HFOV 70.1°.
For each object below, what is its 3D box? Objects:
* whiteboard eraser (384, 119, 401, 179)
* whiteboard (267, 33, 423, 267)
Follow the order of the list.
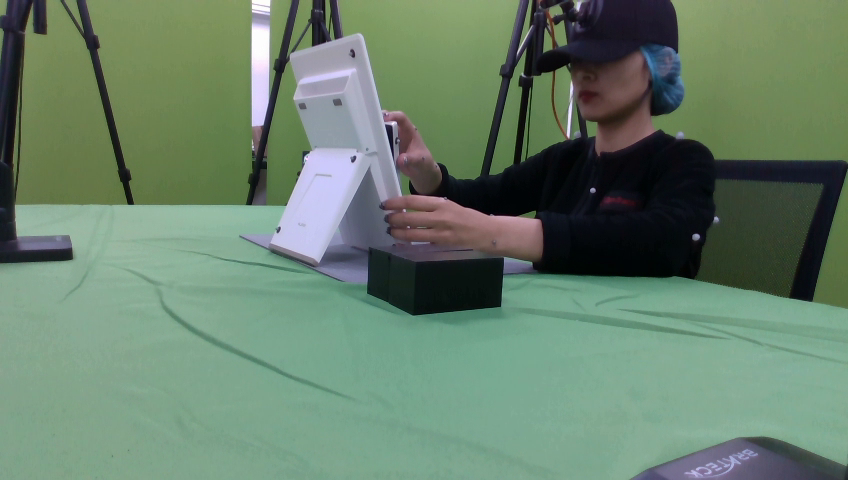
[{"bbox_3d":[-0.067,-0.126,0.915,0.055,0.113,0.042,7,32,16],"label":"whiteboard eraser"},{"bbox_3d":[-0.153,-0.097,0.819,0.144,0.305,0.216,-25,21,-29],"label":"whiteboard"}]
